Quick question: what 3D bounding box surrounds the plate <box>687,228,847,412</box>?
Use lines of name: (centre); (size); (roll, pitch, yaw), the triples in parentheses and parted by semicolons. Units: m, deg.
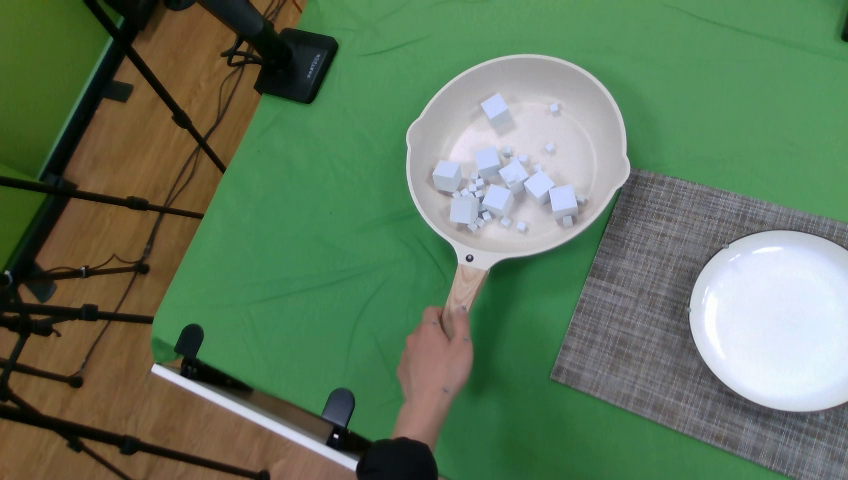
plate: (0.410, 0.090, 0.690); (0.207, 0.039, 0.206); (-5, 71, 16)

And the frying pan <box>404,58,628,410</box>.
frying pan: (0.082, -0.015, 0.792); (0.305, 0.104, 0.485); (15, 69, 22)
